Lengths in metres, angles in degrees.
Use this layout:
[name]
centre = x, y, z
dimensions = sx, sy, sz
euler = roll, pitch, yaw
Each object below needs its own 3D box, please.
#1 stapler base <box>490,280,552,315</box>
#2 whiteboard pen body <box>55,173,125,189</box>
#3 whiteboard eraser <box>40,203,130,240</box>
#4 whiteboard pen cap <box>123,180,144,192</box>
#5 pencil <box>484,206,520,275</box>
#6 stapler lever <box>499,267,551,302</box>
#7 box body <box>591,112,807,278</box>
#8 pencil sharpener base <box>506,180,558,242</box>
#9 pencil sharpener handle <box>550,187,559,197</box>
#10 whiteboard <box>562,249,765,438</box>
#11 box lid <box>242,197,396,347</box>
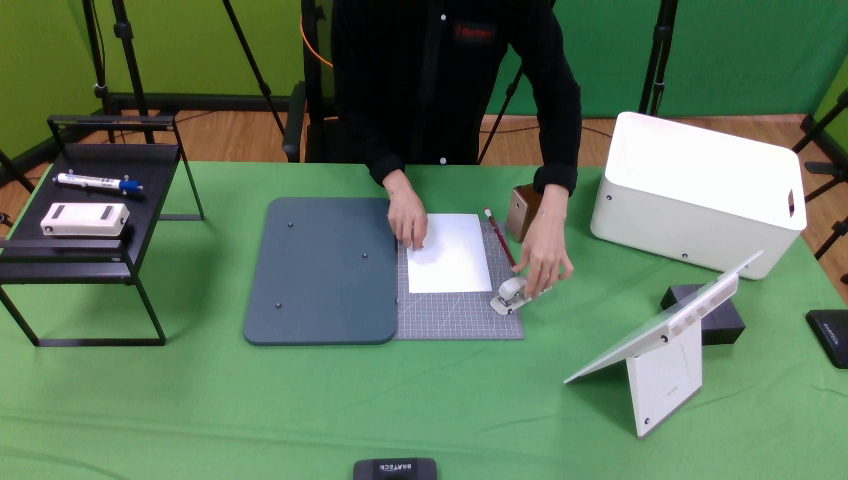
[stapler base]
centre = 0.181, 0.094, 1.118
dimensions = 0.130, 0.024, 0.041
euler = -24, 56, -29
[whiteboard pen body]
centre = -0.539, -0.095, 0.998
dimensions = 0.141, 0.017, 0.017
euler = 6, 46, 6
[whiteboard eraser]
centre = -0.513, -0.028, 0.922
dimensions = 0.113, 0.042, 0.055
euler = 1, 48, -3
[whiteboard pen cap]
centre = -0.479, -0.089, 0.993
dimensions = 0.033, 0.018, 0.018
euler = 7, 46, 14
[pencil]
centre = 0.156, -0.002, 1.218
dimensions = 0.012, 0.012, 0.192
euler = -10, 48, -13
[stapler lever]
centre = 0.185, 0.076, 1.101
dimensions = 0.118, 0.040, 0.026
euler = -24, 56, -29
[box body]
centre = 0.540, -0.092, 1.229
dimensions = 0.363, 0.161, 0.253
euler = 16, 47, 11
[pencil sharpener base]
centre = 0.216, -0.058, 1.211
dimensions = 0.077, 0.107, 0.061
euler = -16, 49, -19
[pencil sharpener handle]
centre = 0.261, -0.084, 1.221
dimensions = 0.031, 0.068, 0.036
euler = -16, 65, -19
[whiteboard]
centre = 0.386, 0.175, 0.905
dimensions = 0.217, 0.306, 0.143
euler = -26, 72, -26
[box lid]
centre = -0.186, 0.046, 1.147
dimensions = 0.263, 0.015, 0.369
euler = 0, 46, -3
